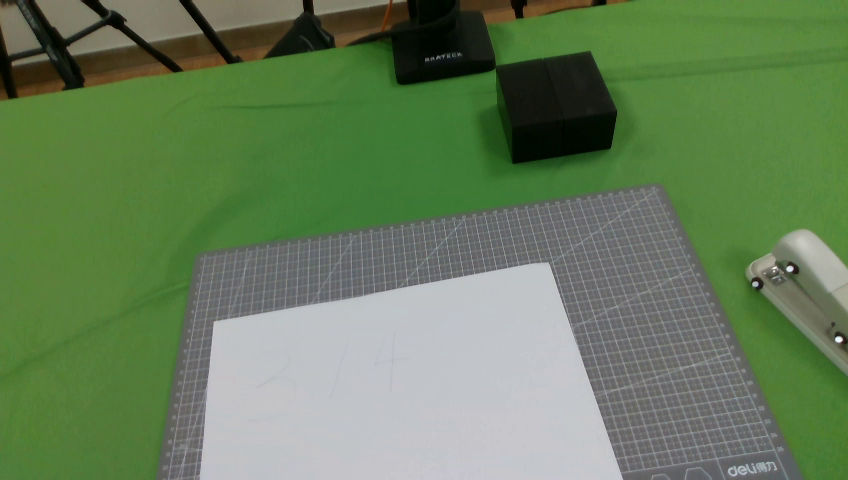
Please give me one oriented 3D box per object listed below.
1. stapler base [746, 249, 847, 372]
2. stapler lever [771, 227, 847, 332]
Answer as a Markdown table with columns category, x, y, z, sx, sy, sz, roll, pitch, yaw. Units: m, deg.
| category | x | y | z | sx | sy | sz | roll | pitch | yaw |
| --- | --- | --- | --- | --- | --- | --- | --- | --- | --- |
| stapler base | 0.308 | 0.052 | 0.465 | 0.041 | 0.025 | 0.129 | -26 | 54 | -8 |
| stapler lever | 0.306 | 0.038 | 0.445 | 0.027 | 0.040 | 0.116 | -26 | 54 | -8 |
